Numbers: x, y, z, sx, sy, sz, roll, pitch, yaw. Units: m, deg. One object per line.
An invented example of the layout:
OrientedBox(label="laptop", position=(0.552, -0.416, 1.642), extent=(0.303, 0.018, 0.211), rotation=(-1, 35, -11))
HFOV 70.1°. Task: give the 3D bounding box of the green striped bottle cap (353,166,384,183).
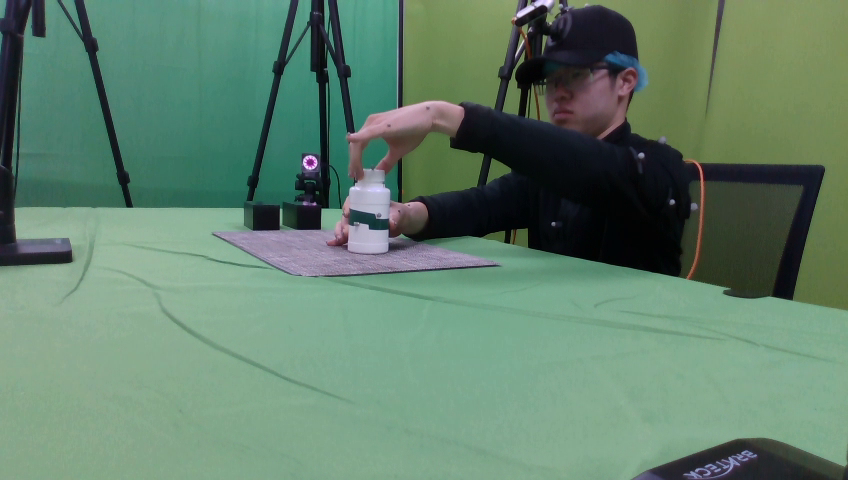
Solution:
OrientedBox(label="green striped bottle cap", position=(-0.083, -0.098, 0.906), extent=(0.044, 0.020, 0.044), rotation=(12, 6, -1))

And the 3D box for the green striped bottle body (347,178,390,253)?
OrientedBox(label="green striped bottle body", position=(-0.083, -0.042, 0.913), extent=(0.063, 0.119, 0.063), rotation=(3, 8, 0))
